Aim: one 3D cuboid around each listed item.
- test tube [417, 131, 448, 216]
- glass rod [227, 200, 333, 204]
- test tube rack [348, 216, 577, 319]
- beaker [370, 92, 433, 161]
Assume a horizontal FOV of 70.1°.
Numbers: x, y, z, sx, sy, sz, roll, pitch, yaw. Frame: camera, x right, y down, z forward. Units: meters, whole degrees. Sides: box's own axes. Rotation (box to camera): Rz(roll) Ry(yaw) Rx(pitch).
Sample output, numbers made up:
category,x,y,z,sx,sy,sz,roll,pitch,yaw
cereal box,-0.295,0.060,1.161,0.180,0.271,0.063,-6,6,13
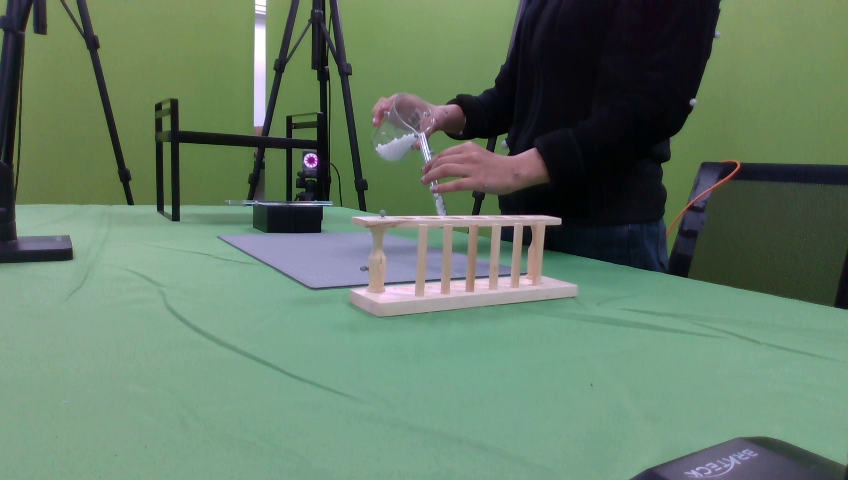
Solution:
category,x,y,z,sx,sy,sz,roll,pitch,yaw
test tube,0.013,-0.101,0.937,0.017,0.150,0.017,-13,-17,-4
glass rod,-0.268,-0.071,1.143,0.201,0.008,0.008,-1,8,-29
test tube rack,0.048,0.021,0.619,0.244,0.085,0.066,-2,9,-31
beaker,-0.039,-0.182,1.005,0.074,0.083,0.100,-9,-23,-36
